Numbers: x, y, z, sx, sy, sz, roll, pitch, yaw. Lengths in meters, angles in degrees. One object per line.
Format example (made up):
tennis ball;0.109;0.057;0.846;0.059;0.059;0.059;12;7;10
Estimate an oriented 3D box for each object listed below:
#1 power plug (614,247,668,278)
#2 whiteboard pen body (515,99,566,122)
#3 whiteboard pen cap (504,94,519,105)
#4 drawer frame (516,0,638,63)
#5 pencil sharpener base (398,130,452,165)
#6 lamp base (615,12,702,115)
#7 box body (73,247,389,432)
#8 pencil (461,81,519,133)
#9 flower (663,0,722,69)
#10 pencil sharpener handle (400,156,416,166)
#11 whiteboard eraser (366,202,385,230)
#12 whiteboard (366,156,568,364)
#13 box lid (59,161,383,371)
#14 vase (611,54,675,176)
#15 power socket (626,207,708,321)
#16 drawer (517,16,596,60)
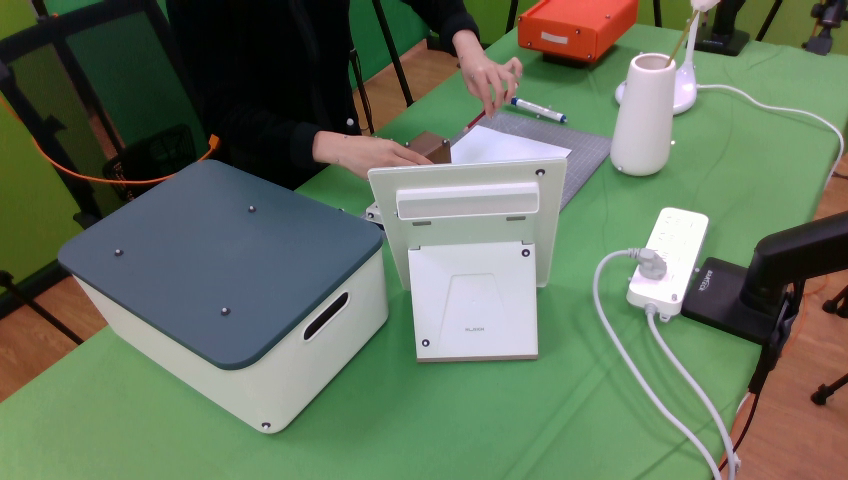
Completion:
power plug;0.306;0.031;0.851;0.072;0.053;0.035;24;49;33
whiteboard pen body;0.234;-0.274;1.262;0.139;0.017;0.017;28;51;29
whiteboard pen cap;0.190;-0.299;1.292;0.033;0.018;0.018;29;52;28
drawer frame;0.355;-0.508;1.410;0.200;0.083;0.214;23;51;32
pencil sharpener base;0.004;-0.123;1.049;0.061;0.107;0.077;28;52;34
lamp base;0.484;-0.363;1.211;0.180;0.181;0.159;-15;41;-13
box body;-0.255;0.065;0.827;0.361;0.161;0.255;21;48;29
pencil;0.117;-0.234;1.059;0.012;0.012;0.194;21;48;29
flower;0.379;-0.261;0.965;0.044;0.362;0.038;20;53;5
pencil sharpener handle;-0.031;-0.104;1.013;0.035;0.068;0.031;21;48;40
whiteboard eraser;-0.038;-0.038;1.006;0.112;0.042;0.055;16;47;25
whiteboard;0.059;0.050;0.738;0.217;0.307;0.143;-2;60;6
box lid;-0.262;0.010;0.777;0.369;0.015;0.264;21;48;29
vase;0.377;-0.209;1.031;0.098;0.201;0.097;-3;40;3
power socket;0.359;0.025;0.886;0.072;0.033;0.227;16;46;26
drawer;0.352;-0.506;1.405;0.193;0.073;0.212;23;49;32
